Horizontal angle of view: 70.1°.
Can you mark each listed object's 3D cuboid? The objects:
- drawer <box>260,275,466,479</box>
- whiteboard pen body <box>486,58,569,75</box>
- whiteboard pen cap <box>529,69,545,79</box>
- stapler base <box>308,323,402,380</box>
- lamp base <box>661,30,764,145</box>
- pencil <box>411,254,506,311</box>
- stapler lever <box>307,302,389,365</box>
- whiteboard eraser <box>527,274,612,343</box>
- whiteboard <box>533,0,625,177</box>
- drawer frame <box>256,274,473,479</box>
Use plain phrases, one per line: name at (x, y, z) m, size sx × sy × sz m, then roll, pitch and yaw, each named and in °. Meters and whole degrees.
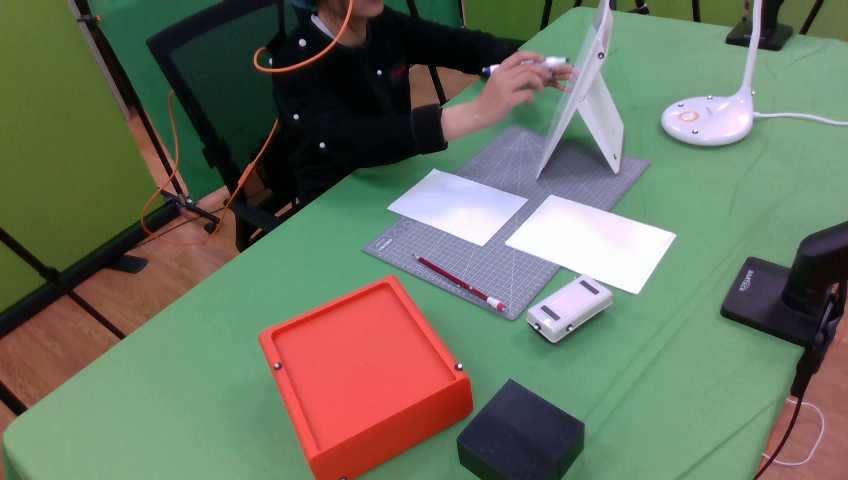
drawer at (-0.080, 0.162, 0.760) m, size 0.195 × 0.073 × 0.210 m, roll -22°, pitch 42°, yaw -16°
whiteboard pen body at (0.177, -0.298, 1.034) m, size 0.140 × 0.017 × 0.017 m, roll -5°, pitch 40°, yaw 10°
whiteboard pen cap at (0.220, -0.324, 1.181) m, size 0.033 × 0.018 × 0.018 m, roll -4°, pitch 28°, yaw -46°
stapler base at (-0.094, 0.142, 0.812) m, size 0.131 × 0.024 × 0.041 m, roll -25°, pitch 29°, yaw -17°
lamp base at (0.535, -0.287, 1.096) m, size 0.179 × 0.181 × 0.159 m, roll -10°, pitch 40°, yaw -4°
pencil at (0.047, 0.060, 0.906) m, size 0.012 × 0.012 × 0.192 m, roll -37°, pitch 46°, yaw -29°
stapler lever at (-0.101, 0.121, 0.799) m, size 0.118 × 0.040 × 0.026 m, roll -25°, pitch 29°, yaw -17°
whiteboard eraser at (0.198, 0.094, 0.820) m, size 0.113 × 0.042 × 0.055 m, roll -29°, pitch 43°, yaw -22°
whiteboard at (0.321, -0.258, 1.049) m, size 0.144 × 0.306 × 0.217 m, roll 21°, pitch 45°, yaw 4°
drawer frame at (-0.078, 0.163, 0.756) m, size 0.202 × 0.083 × 0.211 m, roll -23°, pitch 43°, yaw -17°
